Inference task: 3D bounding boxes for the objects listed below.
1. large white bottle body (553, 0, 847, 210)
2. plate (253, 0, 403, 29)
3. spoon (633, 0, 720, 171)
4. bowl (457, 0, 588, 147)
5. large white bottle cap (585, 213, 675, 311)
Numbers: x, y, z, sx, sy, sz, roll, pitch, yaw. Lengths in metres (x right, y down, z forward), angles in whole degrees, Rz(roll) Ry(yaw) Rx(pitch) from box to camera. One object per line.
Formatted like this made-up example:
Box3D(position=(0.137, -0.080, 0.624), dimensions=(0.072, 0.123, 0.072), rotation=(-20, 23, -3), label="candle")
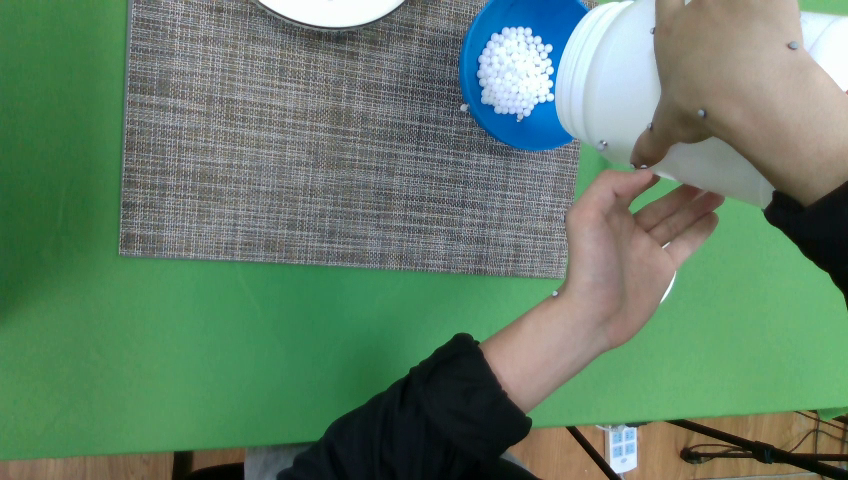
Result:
Box3D(position=(0.201, -0.110, 0.446), dimensions=(0.131, 0.183, 0.131), rotation=(-25, 128, -36), label="large white bottle body")
Box3D(position=(-0.092, -0.290, 0.534), dimensions=(0.210, 0.038, 0.209), rotation=(-2, 95, -19), label="plate")
Box3D(position=(0.259, -0.164, 0.633), dimensions=(0.042, 0.021, 0.194), rotation=(16, 97, -23), label="spoon")
Box3D(position=(0.093, -0.166, 0.591), dimensions=(0.152, 0.076, 0.151), rotation=(-2, 98, -18), label="bowl")
Box3D(position=(0.240, 0.026, 0.703), dimensions=(0.115, 0.018, 0.115), rotation=(-3, 99, -19), label="large white bottle cap")
